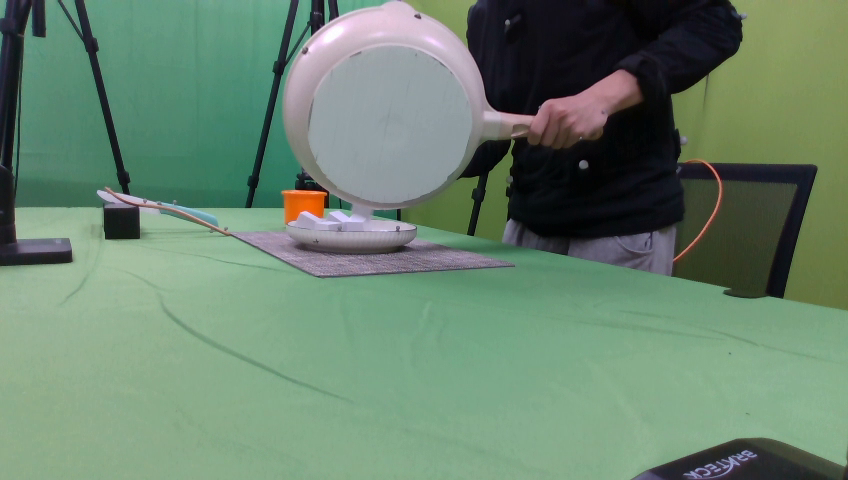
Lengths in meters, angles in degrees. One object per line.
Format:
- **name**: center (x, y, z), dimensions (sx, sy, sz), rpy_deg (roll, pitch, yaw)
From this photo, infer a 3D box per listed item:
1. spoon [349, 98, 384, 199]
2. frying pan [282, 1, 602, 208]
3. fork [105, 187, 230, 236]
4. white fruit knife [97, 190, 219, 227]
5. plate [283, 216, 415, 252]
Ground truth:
- **spoon**: center (-0.088, -0.152, 0.966), dimensions (0.042, 0.193, 0.021), rpy_deg (19, -32, -20)
- **frying pan**: center (0.048, -0.173, 0.881), dimensions (0.490, 0.306, 0.102), rpy_deg (-3, 32, -19)
- **fork**: center (-0.428, -0.047, 1.020), dimensions (0.208, 0.018, 0.028), rpy_deg (19, -10, -26)
- **white fruit knife**: center (-0.468, -0.056, 1.079), dimensions (0.208, 0.027, 0.016), rpy_deg (15, -3, -29)
- **plate**: center (-0.119, -0.010, 0.968), dimensions (0.208, 0.039, 0.207), rpy_deg (3, 7, 0)
